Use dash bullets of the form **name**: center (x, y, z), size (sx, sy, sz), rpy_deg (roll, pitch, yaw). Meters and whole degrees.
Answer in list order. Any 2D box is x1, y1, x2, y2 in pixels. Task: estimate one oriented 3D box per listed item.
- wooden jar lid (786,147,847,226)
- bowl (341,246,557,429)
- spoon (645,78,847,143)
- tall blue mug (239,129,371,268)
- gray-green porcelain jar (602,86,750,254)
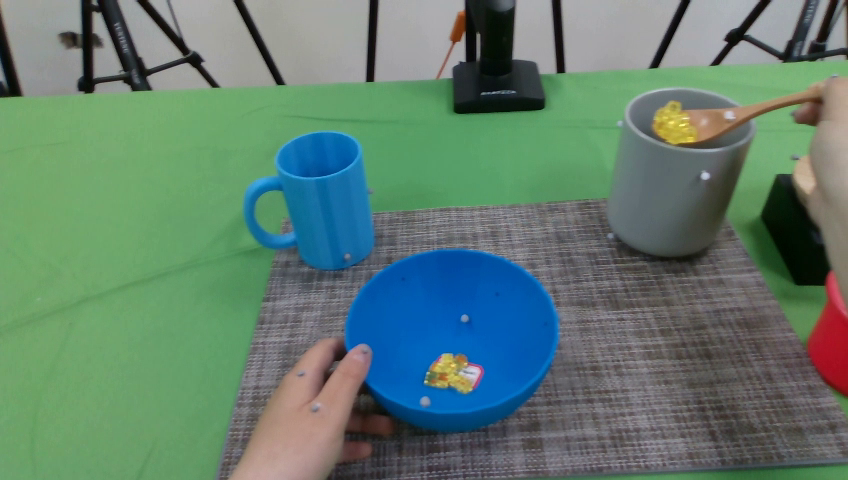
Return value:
- **wooden jar lid**: center (0.380, -0.046, 0.538), size (0.108, 0.021, 0.107), rpy_deg (-3, 42, 3)
- **bowl**: center (0.019, 0.082, 0.448), size (0.151, 0.077, 0.150), rpy_deg (-2, 42, 2)
- **spoon**: center (0.268, -0.103, 0.452), size (0.193, 0.022, 0.041), rpy_deg (-10, 44, 29)
- **tall blue mug**: center (-0.105, -0.030, 0.559), size (0.077, 0.109, 0.107), rpy_deg (32, 53, 32)
- **gray-green porcelain jar**: center (0.222, -0.059, 0.553), size (0.106, 0.128, 0.105), rpy_deg (-2, 42, 2)
